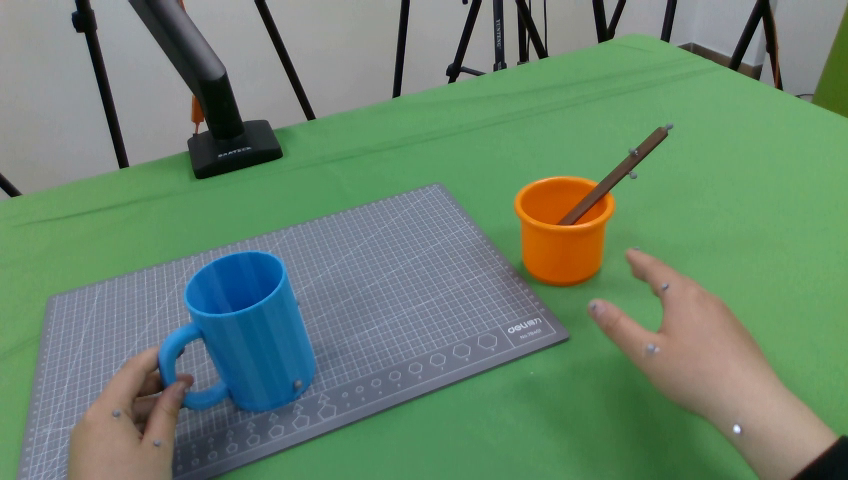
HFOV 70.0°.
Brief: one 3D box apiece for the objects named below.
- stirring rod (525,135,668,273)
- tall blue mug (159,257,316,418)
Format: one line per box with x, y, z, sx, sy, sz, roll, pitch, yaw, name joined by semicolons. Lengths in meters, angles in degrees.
0.159;-0.031;0.569;0.176;0.006;0.014;-47;36;18;stirring rod
-0.141;0.088;0.476;0.077;0.109;0.106;7;39;18;tall blue mug
